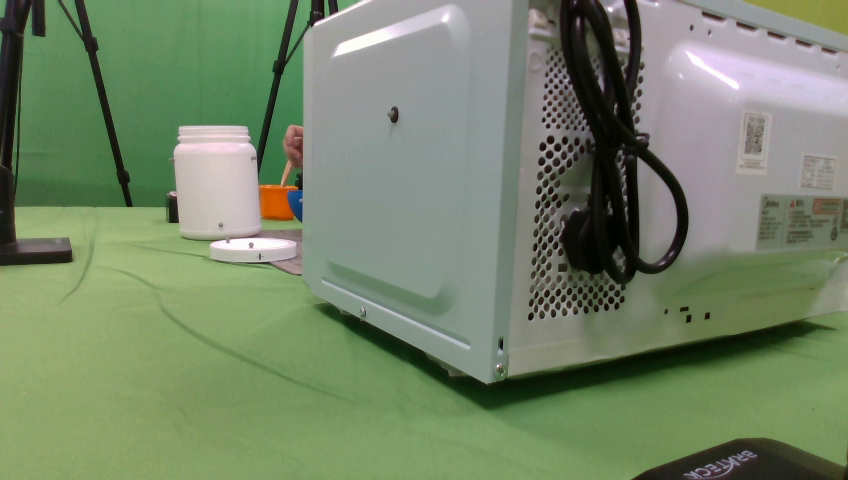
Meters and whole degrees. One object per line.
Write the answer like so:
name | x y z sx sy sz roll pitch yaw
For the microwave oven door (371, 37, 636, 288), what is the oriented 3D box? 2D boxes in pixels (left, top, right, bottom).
microwave oven door | 0.109 -0.080 0.687 0.358 0.243 0.039 -2 9 -33

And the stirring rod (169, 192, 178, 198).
stirring rod | -0.465 -0.098 1.283 0.014 0.006 0.177 42 22 17

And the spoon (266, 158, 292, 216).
spoon | -0.334 -0.127 1.424 0.041 0.193 0.022 0 -37 7

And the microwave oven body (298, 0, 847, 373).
microwave oven body | 0.151 -0.055 0.543 0.444 0.260 0.324 -1 7 -33

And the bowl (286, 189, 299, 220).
bowl | -0.179 -0.051 1.115 0.151 0.077 0.151 3 8 0

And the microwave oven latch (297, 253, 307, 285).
microwave oven latch | -0.082 0.027 0.583 0.079 0.029 0.030 -1 7 -33

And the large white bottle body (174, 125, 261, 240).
large white bottle body | -0.349 -0.100 1.025 0.131 0.184 0.130 -1 9 1

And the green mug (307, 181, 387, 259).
green mug | -0.107 -0.030 0.872 0.126 0.105 0.092 -4 9 -41

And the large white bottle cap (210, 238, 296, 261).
large white bottle cap | -0.236 0.013 0.839 0.115 0.018 0.115 2 7 0
